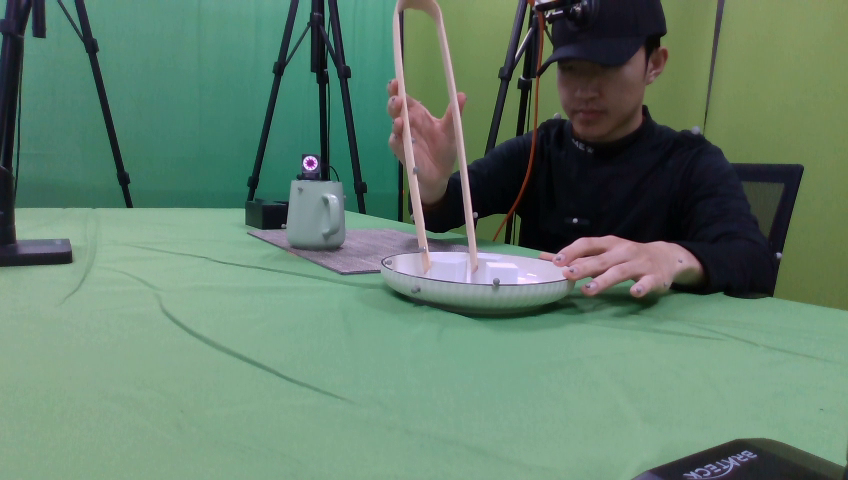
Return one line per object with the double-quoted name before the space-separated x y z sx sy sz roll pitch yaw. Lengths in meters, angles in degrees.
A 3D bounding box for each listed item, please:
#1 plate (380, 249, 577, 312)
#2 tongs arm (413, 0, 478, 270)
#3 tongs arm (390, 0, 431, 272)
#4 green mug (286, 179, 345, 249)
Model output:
"plate" 0.056 0.042 0.646 0.209 0.038 0.209 2 7 0
"tongs arm" 0.026 -0.146 0.731 0.028 0.386 0.028 -5 -23 -8
"tongs arm" -0.006 -0.145 0.724 0.051 0.383 0.026 -5 -23 -12
"green mug" -0.161 -0.040 0.937 0.093 0.105 0.124 -2 8 -32
